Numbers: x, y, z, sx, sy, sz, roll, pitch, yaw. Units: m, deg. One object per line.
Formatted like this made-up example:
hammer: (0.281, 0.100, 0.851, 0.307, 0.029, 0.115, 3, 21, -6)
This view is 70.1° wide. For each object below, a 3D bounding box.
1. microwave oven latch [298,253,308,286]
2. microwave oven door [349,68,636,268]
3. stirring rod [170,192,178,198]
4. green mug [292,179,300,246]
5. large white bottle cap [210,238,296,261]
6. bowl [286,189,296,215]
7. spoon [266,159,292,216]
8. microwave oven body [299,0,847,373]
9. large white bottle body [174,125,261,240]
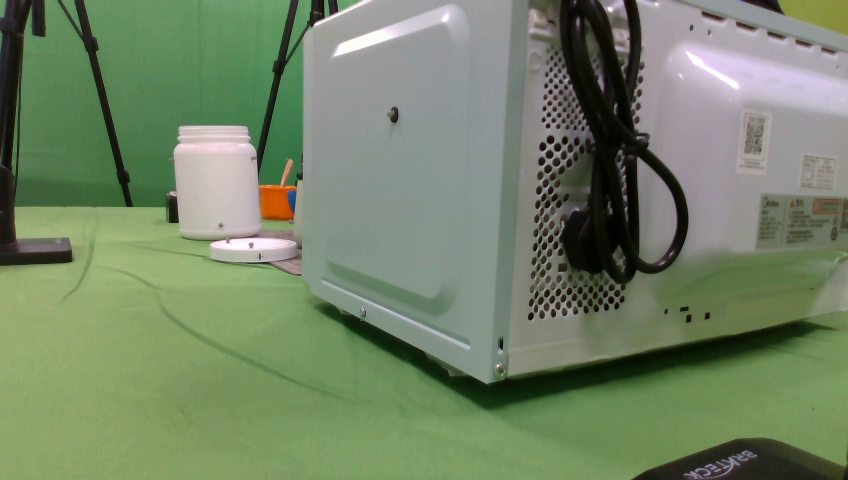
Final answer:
microwave oven latch: (-0.081, 0.027, 0.582, 0.079, 0.029, 0.030, -1, 7, -32)
microwave oven door: (0.084, -0.093, 0.783, 0.356, 0.243, 0.039, 2, 8, 2)
stirring rod: (-0.465, -0.098, 1.283, 0.014, 0.006, 0.177, 42, 21, 17)
green mug: (-0.142, -0.040, 0.942, 0.126, 0.105, 0.092, -2, 8, -32)
large white bottle cap: (-0.236, 0.013, 0.839, 0.115, 0.018, 0.115, 2, 7, 0)
bowl: (-0.179, -0.051, 1.115, 0.151, 0.077, 0.151, 3, 8, 0)
spoon: (-0.334, -0.127, 1.423, 0.041, 0.193, 0.022, -1, -37, 7)
microwave oven body: (0.152, -0.055, 0.543, 0.444, 0.260, 0.324, -2, 7, -33)
large white bottle body: (-0.349, -0.100, 1.025, 0.131, 0.184, 0.130, -1, 9, 0)
